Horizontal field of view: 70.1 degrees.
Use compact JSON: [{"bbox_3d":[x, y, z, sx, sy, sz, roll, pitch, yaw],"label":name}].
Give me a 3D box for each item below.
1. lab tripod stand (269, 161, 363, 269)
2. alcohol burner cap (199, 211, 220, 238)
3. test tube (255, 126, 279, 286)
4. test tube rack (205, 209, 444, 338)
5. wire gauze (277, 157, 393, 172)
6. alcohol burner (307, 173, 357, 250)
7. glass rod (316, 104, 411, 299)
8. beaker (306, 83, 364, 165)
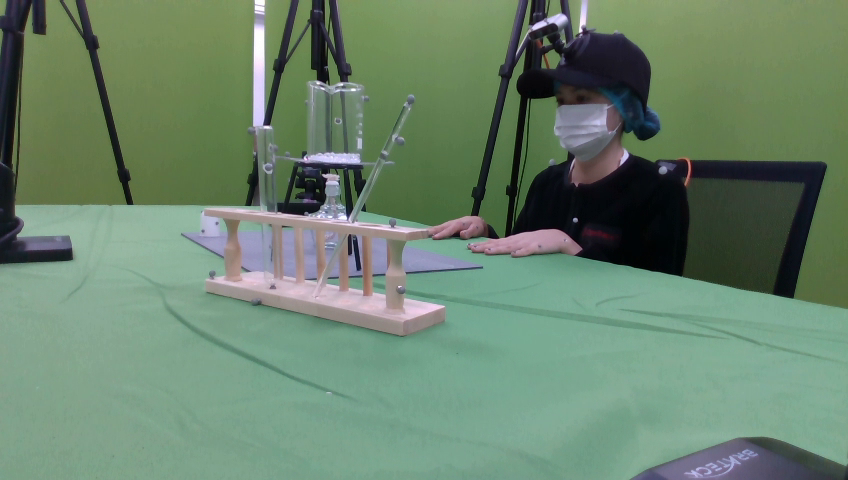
[{"bbox_3d":[-0.125,-0.036,0.794,0.148,0.131,0.148,5,7,0],"label":"lab tripod stand"},{"bbox_3d":[-0.355,-0.027,1.002,0.034,0.048,0.034,2,7,0],"label":"alcohol burner cap"},{"bbox_3d":[-0.147,-0.031,0.566,0.017,0.150,0.017,-1,8,0],"label":"test tube"},{"bbox_3d":[-0.100,0.021,0.565,0.241,0.085,0.067,7,9,32],"label":"test tube rack"},{"bbox_3d":[-0.122,-0.100,0.786,0.122,0.011,0.124,-5,14,-38],"label":"wire gauze"},{"bbox_3d":[-0.144,-0.045,0.940,0.078,0.119,0.078,1,8,0],"label":"alcohol burner"},{"bbox_3d":[-0.054,-0.026,0.517,0.008,0.199,0.008,23,24,-11],"label":"glass rod"},{"bbox_3d":[-0.115,-0.147,0.775,0.074,0.100,0.084,2,8,-2],"label":"beaker"}]
